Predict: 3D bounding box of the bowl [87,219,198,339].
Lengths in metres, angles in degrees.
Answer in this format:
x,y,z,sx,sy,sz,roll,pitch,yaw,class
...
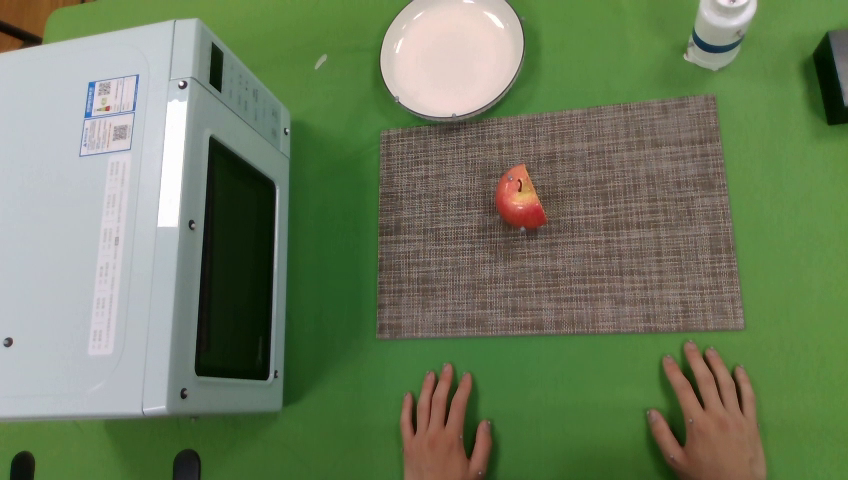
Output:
x,y,z,sx,sy,sz,roll,pitch,yaw,class
-0.353,0.052,0.796,0.151,0.077,0.151,-2,85,18,bowl

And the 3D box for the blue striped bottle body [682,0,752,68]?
x,y,z,sx,sy,sz,roll,pitch,yaw,class
0.358,-0.268,0.741,0.063,0.121,0.062,-3,75,13,blue striped bottle body

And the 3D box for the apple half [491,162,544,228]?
x,y,z,sx,sy,sz,roll,pitch,yaw,class
0.114,-0.051,0.767,0.053,0.075,0.080,-24,76,11,apple half

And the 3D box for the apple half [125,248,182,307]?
x,y,z,sx,sy,sz,roll,pitch,yaw,class
-0.356,0.050,0.786,0.081,0.033,0.081,0,89,7,apple half

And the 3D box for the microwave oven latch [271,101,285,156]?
x,y,z,sx,sy,sz,roll,pitch,yaw,class
-0.217,-0.161,0.878,0.030,0.030,0.078,-5,76,12,microwave oven latch

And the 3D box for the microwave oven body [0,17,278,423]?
x,y,z,sx,sy,sz,roll,pitch,yaw,class
-0.379,0.000,0.774,0.325,0.262,0.439,-5,76,12,microwave oven body

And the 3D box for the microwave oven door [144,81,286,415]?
x,y,z,sx,sy,sz,roll,pitch,yaw,class
-0.236,0.025,0.728,0.039,0.245,0.354,-6,75,13,microwave oven door

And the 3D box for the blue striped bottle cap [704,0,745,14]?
x,y,z,sx,sy,sz,roll,pitch,yaw,class
0.346,-0.281,0.693,0.044,0.021,0.044,-3,78,13,blue striped bottle cap

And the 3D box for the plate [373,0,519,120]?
x,y,z,sx,sy,sz,roll,pitch,yaw,class
0.032,-0.263,0.863,0.207,0.039,0.206,-3,76,12,plate
